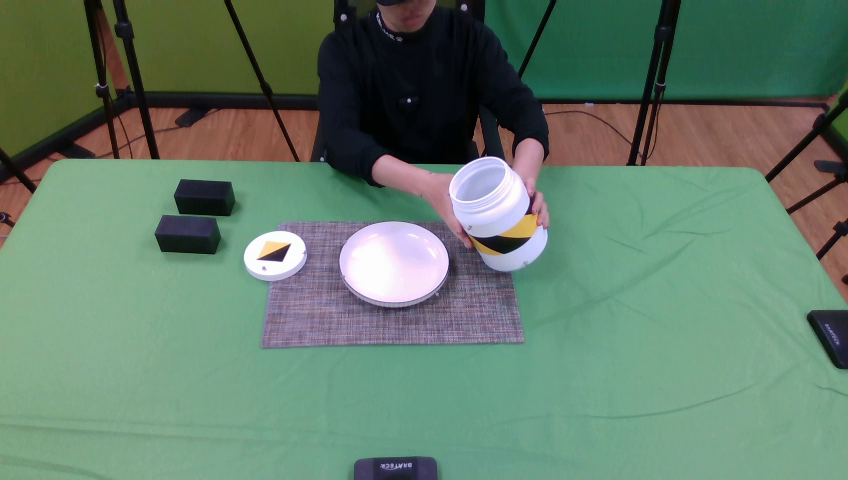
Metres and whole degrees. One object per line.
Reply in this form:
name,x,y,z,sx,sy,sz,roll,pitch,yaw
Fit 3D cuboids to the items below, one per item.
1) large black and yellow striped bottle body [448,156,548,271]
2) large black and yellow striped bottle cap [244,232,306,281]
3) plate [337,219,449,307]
large black and yellow striped bottle body,0.129,-0.046,1.070,0.130,0.185,0.130,-19,42,19
large black and yellow striped bottle cap,-0.282,0.030,1.146,0.115,0.019,0.114,-1,45,1
plate,-0.057,0.045,1.133,0.208,0.039,0.206,2,46,-2
